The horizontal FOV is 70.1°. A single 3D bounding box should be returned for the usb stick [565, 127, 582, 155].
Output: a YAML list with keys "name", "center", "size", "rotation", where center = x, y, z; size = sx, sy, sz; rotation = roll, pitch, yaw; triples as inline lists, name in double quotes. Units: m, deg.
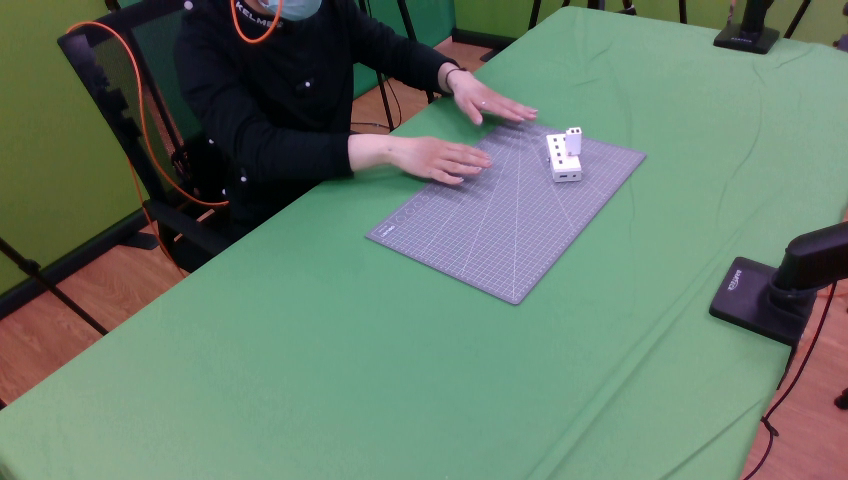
- name: "usb stick"
  center: [0.266, -0.170, 1.077]
  size: [0.027, 0.059, 0.021]
  rotation: [-3, 40, 2]

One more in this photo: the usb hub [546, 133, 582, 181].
- name: "usb hub"
  center: [0.255, -0.153, 1.103]
  size: [0.049, 0.025, 0.124]
  rotation: [-3, 41, 5]
